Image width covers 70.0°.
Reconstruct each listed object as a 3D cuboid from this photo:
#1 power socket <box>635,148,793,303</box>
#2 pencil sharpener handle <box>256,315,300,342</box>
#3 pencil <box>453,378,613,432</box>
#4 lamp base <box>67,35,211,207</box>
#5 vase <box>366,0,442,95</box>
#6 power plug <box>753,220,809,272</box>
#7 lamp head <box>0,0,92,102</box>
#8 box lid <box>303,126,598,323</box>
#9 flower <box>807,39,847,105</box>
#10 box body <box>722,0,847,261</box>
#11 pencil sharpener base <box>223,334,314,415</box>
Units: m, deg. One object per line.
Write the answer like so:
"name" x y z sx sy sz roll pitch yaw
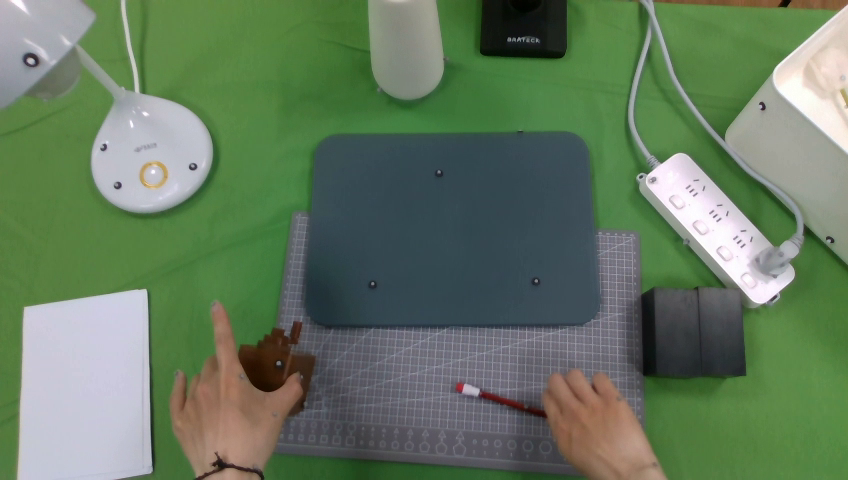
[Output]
"power socket" 0.362 -0.020 0.761 0.072 0.033 0.225 -35 76 -9
"pencil sharpener handle" -0.158 0.097 0.675 0.036 0.068 0.030 10 80 13
"pencil" 0.127 0.195 0.713 0.194 0.012 0.012 16 75 6
"lamp base" -0.371 -0.150 0.733 0.160 0.181 0.178 -27 73 -6
"vase" -0.025 -0.265 0.750 0.098 0.201 0.097 0 73 0
"power plug" 0.430 0.013 0.727 0.072 0.053 0.035 -25 73 -11
"lamp head" -0.339 -0.184 0.456 0.112 0.124 0.111 -26 38 23
"box lid" 0.034 -0.024 0.778 0.371 0.015 0.261 -1 74 1
"flower" 0.591 -0.096 0.782 0.044 0.038 0.360 -21 80 12
"box body" 0.580 -0.106 0.713 0.254 0.161 0.362 -39 77 -9
"pencil sharpener base" -0.170 0.148 0.679 0.061 0.107 0.076 11 80 6
